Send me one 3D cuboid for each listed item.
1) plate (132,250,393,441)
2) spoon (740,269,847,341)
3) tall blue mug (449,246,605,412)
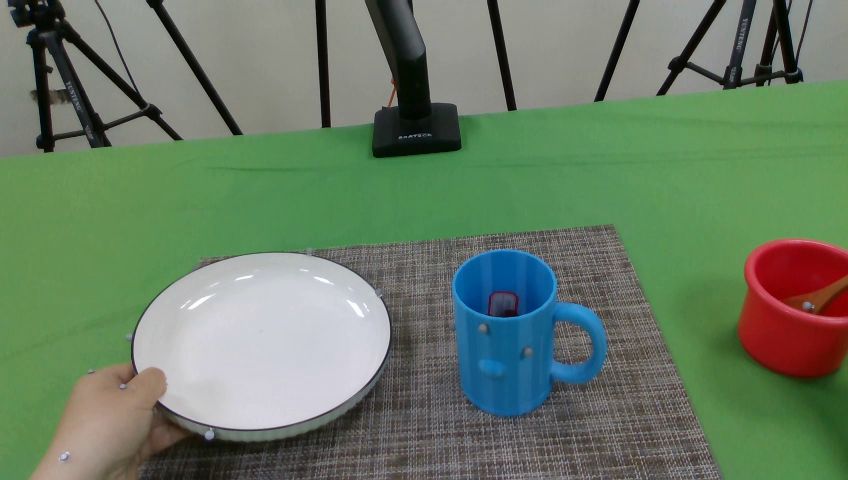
[{"bbox_3d":[-0.131,0.085,0.514,0.208,0.039,0.205,5,36,-3],"label":"plate"},{"bbox_3d":[0.319,0.025,0.445,0.022,0.194,0.041,26,47,-13],"label":"spoon"},{"bbox_3d":[0.077,0.068,0.470,0.107,0.109,0.077,-9,38,-3],"label":"tall blue mug"}]
